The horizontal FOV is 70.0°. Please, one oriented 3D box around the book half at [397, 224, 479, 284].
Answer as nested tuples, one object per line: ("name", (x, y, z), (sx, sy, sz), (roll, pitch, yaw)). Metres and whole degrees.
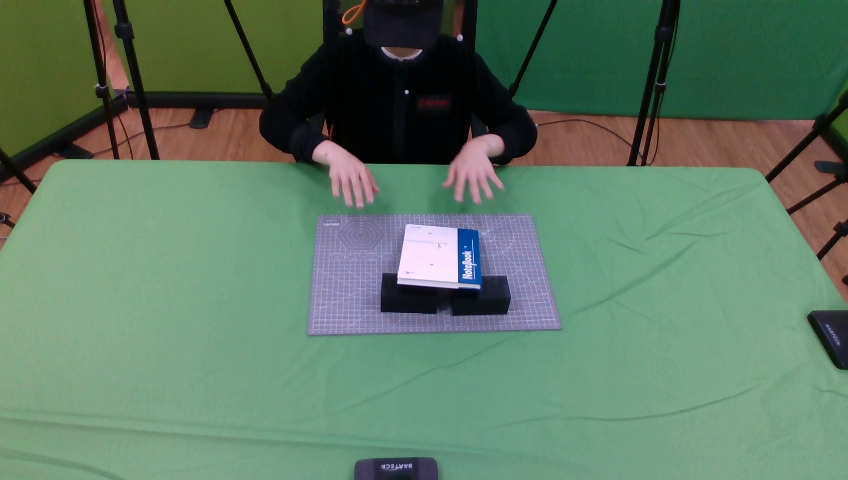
("book half", (0.029, 0.023, 1.128), (0.143, 0.007, 0.209), (5, 28, 1))
